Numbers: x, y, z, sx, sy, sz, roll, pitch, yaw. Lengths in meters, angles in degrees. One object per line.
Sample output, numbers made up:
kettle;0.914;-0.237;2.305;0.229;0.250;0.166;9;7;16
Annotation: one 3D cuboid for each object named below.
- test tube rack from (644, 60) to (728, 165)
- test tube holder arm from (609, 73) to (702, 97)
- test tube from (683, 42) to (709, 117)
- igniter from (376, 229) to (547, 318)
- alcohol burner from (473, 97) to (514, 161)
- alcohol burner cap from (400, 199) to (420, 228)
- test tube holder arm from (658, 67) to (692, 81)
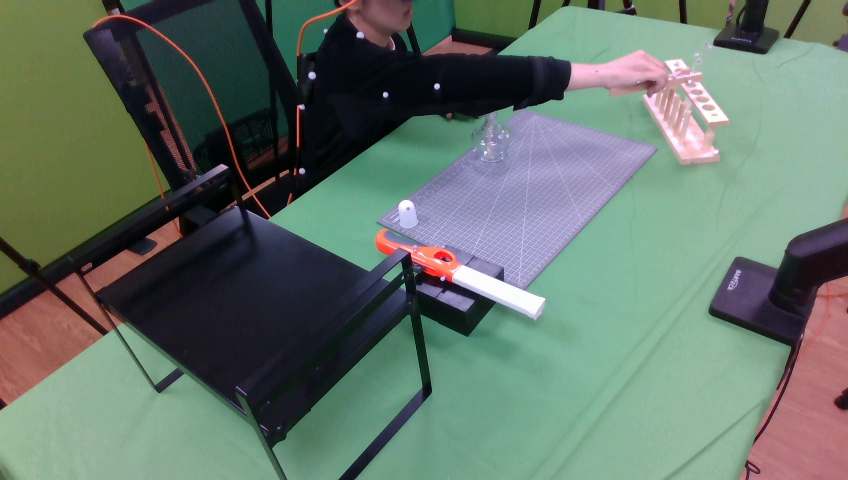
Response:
test tube rack;0.486;-0.246;1.139;0.067;0.085;0.241;-5;41;4
test tube holder arm;0.410;-0.275;1.069;0.179;0.015;0.013;-13;40;-11
test tube;0.499;-0.292;1.114;0.017;0.151;0.017;-3;44;3
igniter;0.040;0.041;0.845;0.274;0.025;0.057;22;46;27
alcohol burner;0.128;-0.208;1.123;0.078;0.119;0.077;-5;39;5
alcohol burner cap;-0.025;-0.047;1.014;0.034;0.048;0.033;-4;42;4
test tube holder arm;0.449;-0.291;1.085;0.088;0.015;0.010;-27;46;-25
